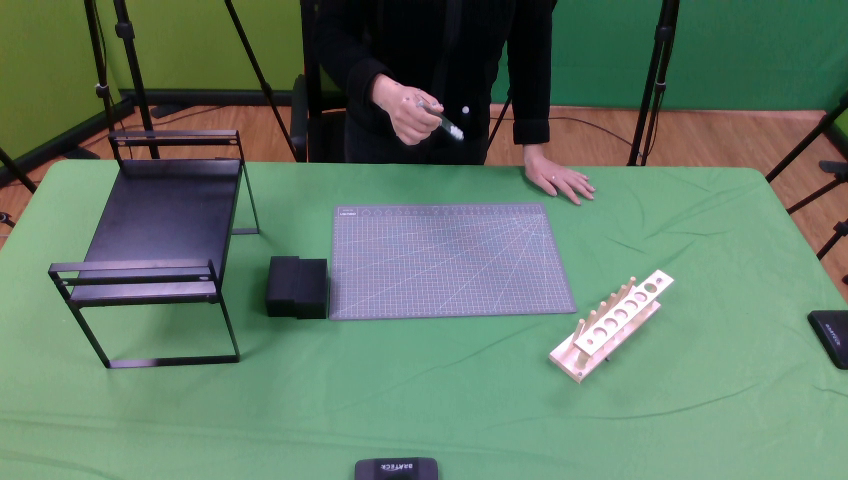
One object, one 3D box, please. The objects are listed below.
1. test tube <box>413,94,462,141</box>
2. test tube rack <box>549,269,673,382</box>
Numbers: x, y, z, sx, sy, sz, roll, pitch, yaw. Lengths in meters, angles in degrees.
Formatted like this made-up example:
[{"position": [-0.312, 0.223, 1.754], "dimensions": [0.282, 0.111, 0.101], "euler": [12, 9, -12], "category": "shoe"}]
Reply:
[{"position": [0.026, -0.202, 1.012], "dimensions": [0.017, 0.151, 0.017], "euler": [-10, 68, 28], "category": "test tube"}, {"position": [0.325, 0.134, 1.048], "dimensions": [0.242, 0.085, 0.066], "euler": [-32, 55, -30], "category": "test tube rack"}]
